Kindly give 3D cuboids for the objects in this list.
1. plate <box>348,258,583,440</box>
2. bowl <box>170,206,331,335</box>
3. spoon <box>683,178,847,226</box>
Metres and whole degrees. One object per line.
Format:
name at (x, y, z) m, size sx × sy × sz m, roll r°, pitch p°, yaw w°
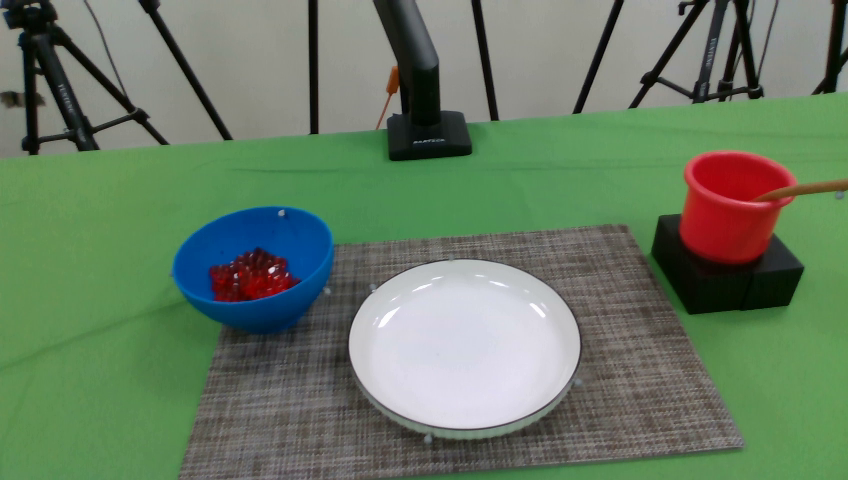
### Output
plate at (0.036, 0.096, 0.551) m, size 0.207 × 0.039 × 0.205 m, roll -2°, pitch 38°, yaw 2°
bowl at (-0.162, 0.041, 0.602) m, size 0.151 × 0.077 × 0.150 m, roll -2°, pitch 38°, yaw 2°
spoon at (0.304, -0.035, 0.535) m, size 0.042 × 0.021 × 0.193 m, roll -19°, pitch -4°, yaw -18°
